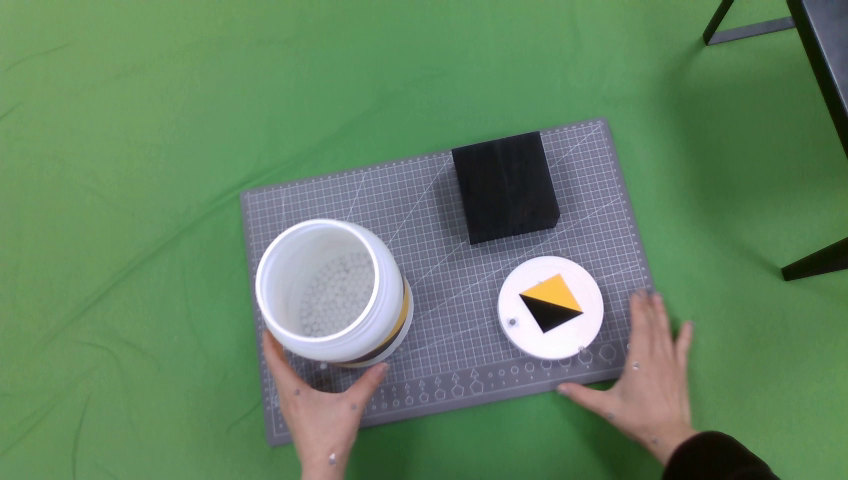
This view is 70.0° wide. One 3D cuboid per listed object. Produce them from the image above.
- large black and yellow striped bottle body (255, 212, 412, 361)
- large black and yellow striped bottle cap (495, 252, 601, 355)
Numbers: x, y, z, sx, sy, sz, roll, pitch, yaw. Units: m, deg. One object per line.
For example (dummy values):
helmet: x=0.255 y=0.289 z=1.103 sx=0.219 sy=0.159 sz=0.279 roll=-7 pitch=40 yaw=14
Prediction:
large black and yellow striped bottle body: x=-0.085 y=0.050 z=0.602 sx=0.131 sy=0.185 sz=0.130 roll=-1 pitch=76 yaw=4
large black and yellow striped bottle cap: x=0.136 y=0.069 z=0.668 sx=0.115 sy=0.019 sz=0.114 roll=-1 pitch=76 yaw=3
